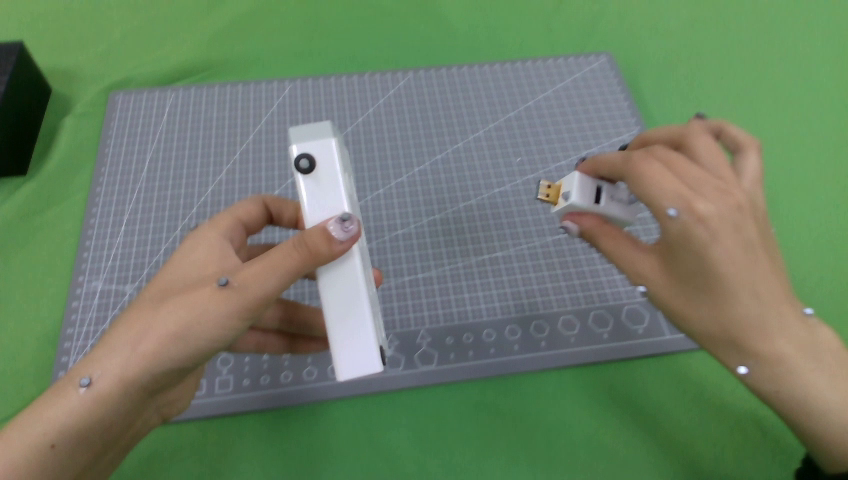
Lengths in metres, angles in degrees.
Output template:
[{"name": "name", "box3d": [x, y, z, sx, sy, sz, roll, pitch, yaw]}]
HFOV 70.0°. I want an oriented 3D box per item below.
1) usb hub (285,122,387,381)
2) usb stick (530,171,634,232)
[{"name": "usb hub", "box3d": [-0.045, 0.006, 0.314, 0.025, 0.049, 0.125, -12, 92, 1]}, {"name": "usb stick", "box3d": [0.094, -0.025, 0.364, 0.059, 0.027, 0.021, 16, 73, -11]}]
